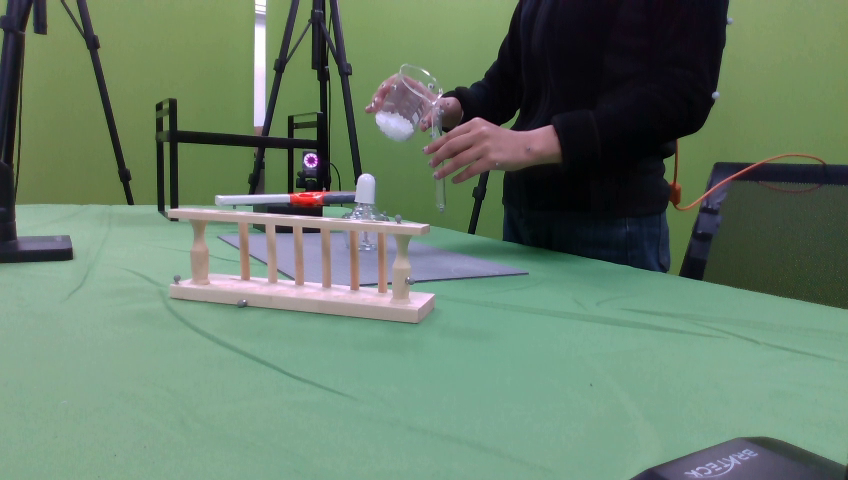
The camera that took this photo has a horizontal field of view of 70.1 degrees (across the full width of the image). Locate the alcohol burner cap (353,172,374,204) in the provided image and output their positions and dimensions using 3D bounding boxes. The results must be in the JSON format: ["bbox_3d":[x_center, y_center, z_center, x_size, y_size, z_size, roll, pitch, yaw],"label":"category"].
[{"bbox_3d":[-0.092,-0.081,0.935,0.034,0.048,0.034,6,10,-1],"label":"alcohol burner cap"}]

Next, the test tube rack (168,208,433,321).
[{"bbox_3d":[-0.116,0.018,0.574,0.242,0.085,0.067,4,8,13],"label":"test tube rack"}]

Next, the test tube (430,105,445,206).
[{"bbox_3d":[0.020,-0.125,0.897,0.017,0.150,0.017,-3,0,0],"label":"test tube"}]

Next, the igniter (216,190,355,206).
[{"bbox_3d":[-0.249,-0.079,1.151,0.278,0.025,0.057,-4,11,-27],"label":"igniter"}]

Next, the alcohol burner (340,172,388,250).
[{"bbox_3d":[-0.094,-0.045,0.939,0.078,0.119,0.078,0,7,0],"label":"alcohol burner"}]

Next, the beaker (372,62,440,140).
[{"bbox_3d":[-0.029,-0.210,0.941,0.074,0.083,0.100,-15,-26,-44],"label":"beaker"}]
